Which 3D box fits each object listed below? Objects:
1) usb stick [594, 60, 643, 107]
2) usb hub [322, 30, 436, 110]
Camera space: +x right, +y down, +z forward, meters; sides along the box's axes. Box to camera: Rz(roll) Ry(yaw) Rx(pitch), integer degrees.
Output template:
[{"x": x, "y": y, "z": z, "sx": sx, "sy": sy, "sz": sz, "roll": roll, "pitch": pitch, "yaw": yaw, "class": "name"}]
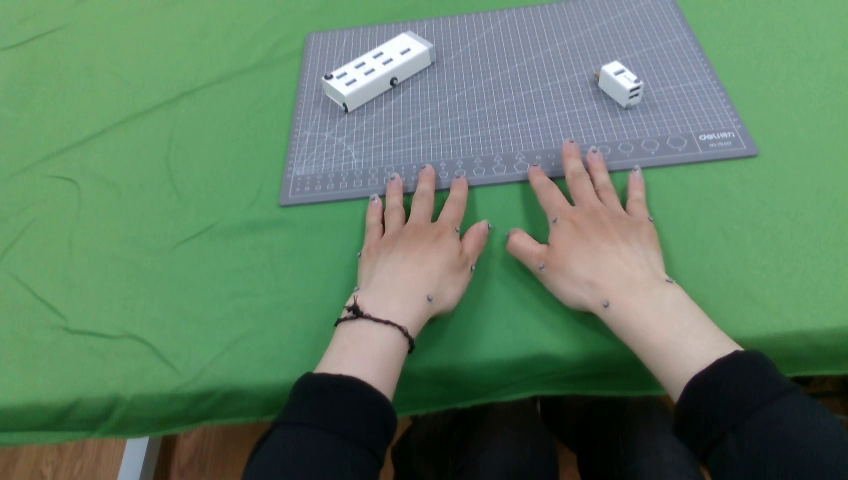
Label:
[{"x": 0.196, "y": -0.164, "z": 0.620, "sx": 0.021, "sy": 0.027, "sz": 0.058, "roll": -25, "pitch": 49, "yaw": -9, "class": "usb stick"}, {"x": -0.050, "y": -0.193, "z": 0.681, "sx": 0.125, "sy": 0.025, "sz": 0.049, "roll": -35, "pitch": 54, "yaw": -19, "class": "usb hub"}]
